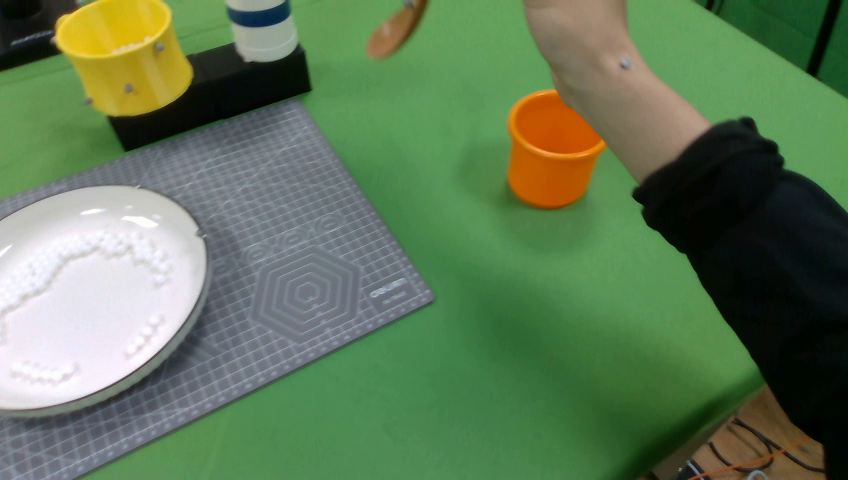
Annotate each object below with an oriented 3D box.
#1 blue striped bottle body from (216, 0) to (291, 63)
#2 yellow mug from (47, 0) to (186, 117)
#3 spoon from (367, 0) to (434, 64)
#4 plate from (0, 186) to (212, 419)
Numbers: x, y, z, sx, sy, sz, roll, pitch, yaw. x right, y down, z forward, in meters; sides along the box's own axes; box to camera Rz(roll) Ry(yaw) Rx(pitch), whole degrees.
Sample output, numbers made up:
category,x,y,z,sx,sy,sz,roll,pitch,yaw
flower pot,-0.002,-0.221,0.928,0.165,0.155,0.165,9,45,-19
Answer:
category,x,y,z,sx,sy,sz,roll,pitch,yaw
blue striped bottle body,-0.170,-0.239,0.584,0.063,0.122,0.062,0,52,1
yellow mug,-0.299,-0.177,0.571,0.130,0.064,0.099,15,54,14
spoon,0.018,-0.173,0.383,0.022,0.194,0.041,26,55,-22
plate,-0.270,0.045,0.478,0.208,0.039,0.205,0,52,0
